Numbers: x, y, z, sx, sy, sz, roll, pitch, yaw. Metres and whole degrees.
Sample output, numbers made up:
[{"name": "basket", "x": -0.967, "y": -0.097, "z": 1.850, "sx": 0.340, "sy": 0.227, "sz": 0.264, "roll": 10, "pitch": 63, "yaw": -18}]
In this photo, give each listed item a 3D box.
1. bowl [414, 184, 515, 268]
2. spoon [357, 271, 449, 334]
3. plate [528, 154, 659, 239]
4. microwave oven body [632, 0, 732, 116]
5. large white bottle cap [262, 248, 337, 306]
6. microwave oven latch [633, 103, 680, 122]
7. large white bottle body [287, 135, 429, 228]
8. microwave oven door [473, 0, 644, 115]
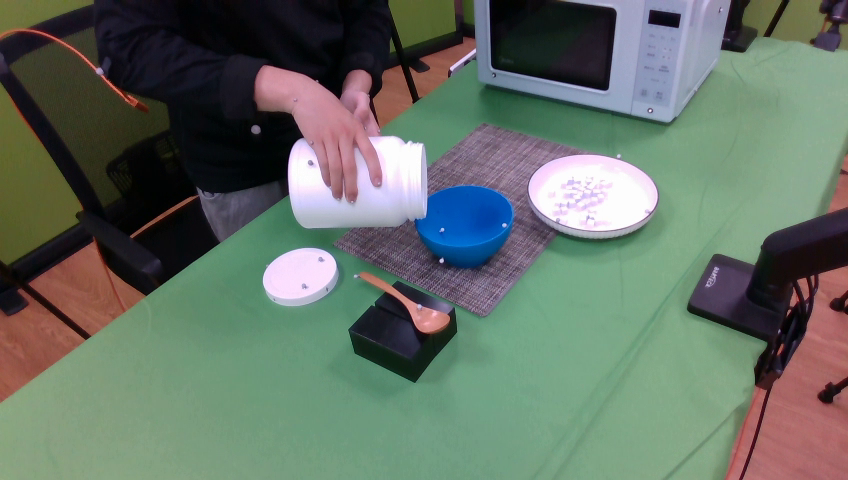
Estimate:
[{"name": "bowl", "x": 0.063, "y": -0.011, "z": 0.922, "sx": 0.151, "sy": 0.077, "sz": 0.150, "roll": -4, "pitch": 40, "yaw": 4}, {"name": "spoon", "x": -0.034, "y": 0.078, "z": 0.812, "sx": 0.042, "sy": 0.022, "sz": 0.192, "roll": -34, "pitch": 42, "yaw": -24}, {"name": "plate", "x": 0.274, "y": -0.069, "z": 0.993, "sx": 0.209, "sy": 0.038, "sz": 0.208, "roll": -2, "pitch": 42, "yaw": 2}, {"name": "microwave oven body", "x": 0.377, "y": -0.463, "z": 1.267, "sx": 0.438, "sy": 0.261, "sz": 0.327, "roll": 21, "pitch": 49, "yaw": 30}, {"name": "large white bottle cap", "x": -0.193, "y": 0.056, "z": 0.934, "sx": 0.115, "sy": 0.018, "sz": 0.114, "roll": -5, "pitch": 41, "yaw": 4}, {"name": "microwave oven latch", "x": 0.443, "y": -0.249, "z": 1.157, "sx": 0.078, "sy": 0.029, "sz": 0.030, "roll": 21, "pitch": 48, "yaw": 30}, {"name": "large white bottle body", "x": -0.089, "y": -0.083, "z": 0.868, "sx": 0.184, "sy": 0.131, "sz": 0.130, "roll": -1, "pitch": 41, "yaw": 4}, {"name": "microwave oven door", "x": 0.257, "y": -0.396, "z": 1.199, "sx": 0.353, "sy": 0.245, "sz": 0.039, "roll": 21, "pitch": 48, "yaw": 29}]
